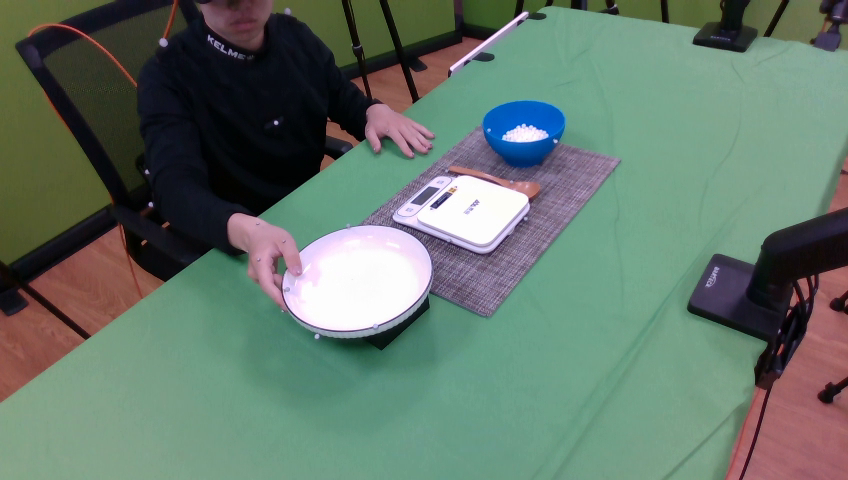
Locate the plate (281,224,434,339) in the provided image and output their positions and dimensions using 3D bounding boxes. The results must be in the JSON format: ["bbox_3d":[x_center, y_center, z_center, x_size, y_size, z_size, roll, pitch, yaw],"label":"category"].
[{"bbox_3d":[-0.088,0.057,0.825,0.209,0.038,0.208,-4,40,4],"label":"plate"}]

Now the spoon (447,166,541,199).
[{"bbox_3d":[0.120,-0.107,1.071,0.192,0.022,0.041,23,64,31],"label":"spoon"}]

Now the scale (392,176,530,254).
[{"bbox_3d":[0.060,-0.050,1.006,0.199,0.032,0.149,22,48,30],"label":"scale"}]

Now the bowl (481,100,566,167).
[{"bbox_3d":[0.183,-0.187,1.111,0.151,0.077,0.150,-4,41,4],"label":"bowl"}]
